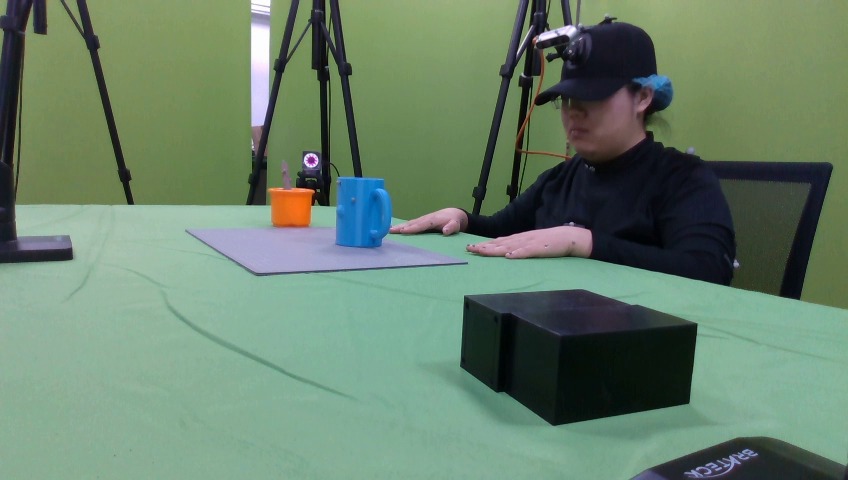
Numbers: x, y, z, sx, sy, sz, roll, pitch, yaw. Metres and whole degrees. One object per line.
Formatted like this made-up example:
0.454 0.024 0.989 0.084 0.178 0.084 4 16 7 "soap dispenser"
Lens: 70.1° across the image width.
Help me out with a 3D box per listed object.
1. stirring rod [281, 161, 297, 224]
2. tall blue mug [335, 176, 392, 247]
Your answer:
-0.278 -0.099 1.239 0.014 0.006 0.175 2 49 -25 "stirring rod"
-0.089 -0.046 0.971 0.107 0.108 0.078 5 7 20 "tall blue mug"
